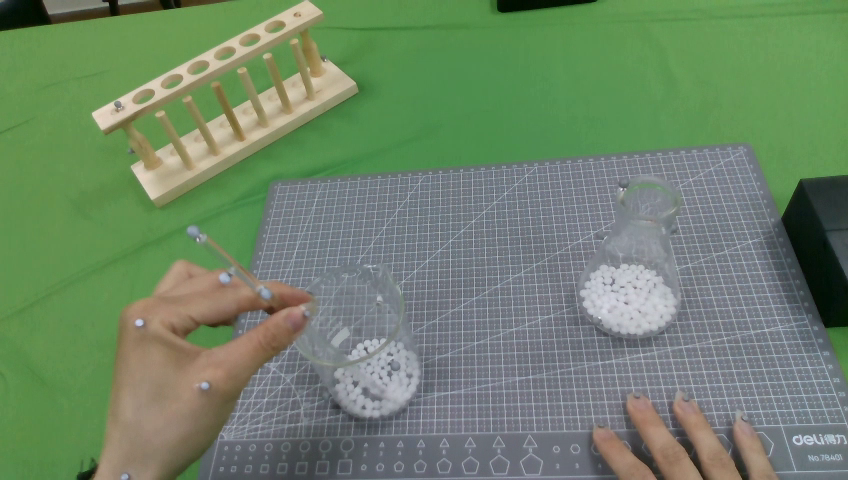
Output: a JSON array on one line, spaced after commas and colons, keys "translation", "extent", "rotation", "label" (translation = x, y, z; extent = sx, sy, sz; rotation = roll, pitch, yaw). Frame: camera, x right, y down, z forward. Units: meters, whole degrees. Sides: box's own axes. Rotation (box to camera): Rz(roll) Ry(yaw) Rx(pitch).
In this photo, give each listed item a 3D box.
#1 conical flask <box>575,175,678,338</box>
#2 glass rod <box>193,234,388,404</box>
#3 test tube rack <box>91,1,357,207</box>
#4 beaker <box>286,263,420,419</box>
[{"translation": [0.146, 0.009, 0.420], "extent": [0.075, 0.123, 0.074], "rotation": [-5, 53, 7], "label": "conical flask"}, {"translation": [-0.072, 0.058, 0.373], "extent": [0.008, 0.202, 0.008], "rotation": [-17, 46, 19], "label": "glass rod"}, {"translation": [-0.195, -0.143, 0.621], "extent": [0.242, 0.086, 0.066], "rotation": [-35, 55, -16], "label": "test tube rack"}, {"translation": [-0.042, 0.073, 0.420], "extent": [0.073, 0.101, 0.083], "rotation": [19, 58, 22], "label": "beaker"}]
